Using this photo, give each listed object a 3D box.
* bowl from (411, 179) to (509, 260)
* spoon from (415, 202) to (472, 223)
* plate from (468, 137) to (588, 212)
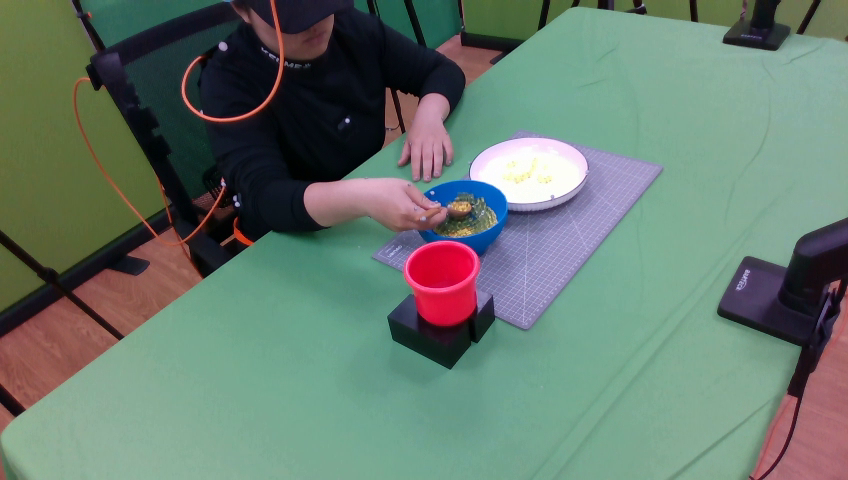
[{"bbox_3d":[0.060,-0.022,0.949,0.151,0.077,0.150,-5,40,5],"label":"bowl"},{"bbox_3d":[0.026,-0.043,0.901,0.041,0.021,0.195,9,9,22],"label":"spoon"},{"bbox_3d":[0.182,-0.112,1.064,0.207,0.039,0.206,-5,40,5],"label":"plate"}]
